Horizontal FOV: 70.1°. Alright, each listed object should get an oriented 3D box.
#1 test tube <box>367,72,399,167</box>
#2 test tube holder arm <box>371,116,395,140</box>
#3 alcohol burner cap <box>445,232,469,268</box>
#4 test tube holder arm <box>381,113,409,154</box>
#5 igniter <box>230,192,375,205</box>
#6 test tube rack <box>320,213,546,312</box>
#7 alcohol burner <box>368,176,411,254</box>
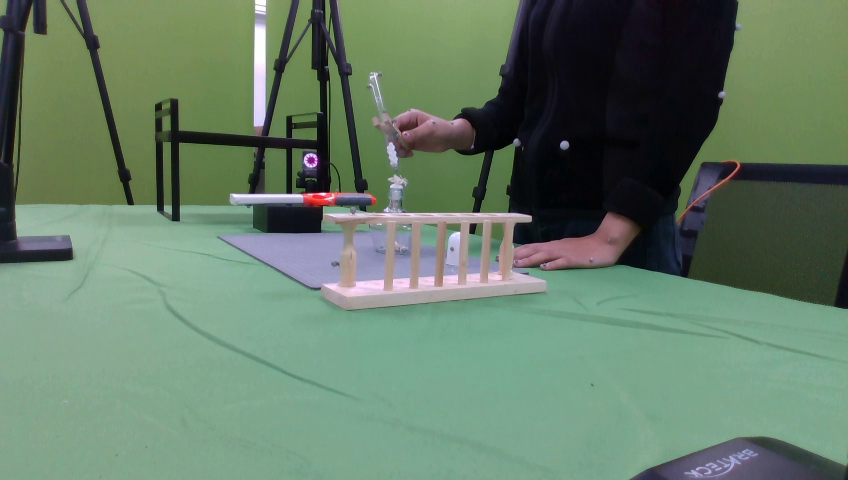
[{"bbox_3d":[-0.062,-0.181,0.911,0.017,0.150,0.017,-14,-7,-1],"label":"test tube"},{"bbox_3d":[-0.059,-0.171,0.933,0.010,0.015,0.088,-20,-11,15],"label":"test tube holder arm"},{"bbox_3d":[0.045,0.013,0.829,0.034,0.048,0.034,2,8,0],"label":"alcohol burner cap"},{"bbox_3d":[-0.044,-0.168,0.975,0.013,0.015,0.179,-18,-10,8],"label":"test tube holder arm"},{"bbox_3d":[-0.226,-0.079,1.161,0.278,0.025,0.057,-2,15,-28],"label":"igniter"},{"bbox_3d":[0.018,0.017,0.638,0.244,0.085,0.066,-2,9,-31],"label":"test tube rack"},{"bbox_3d":[-0.045,-0.038,0.912,0.078,0.119,0.078,4,8,0],"label":"alcohol burner"}]
